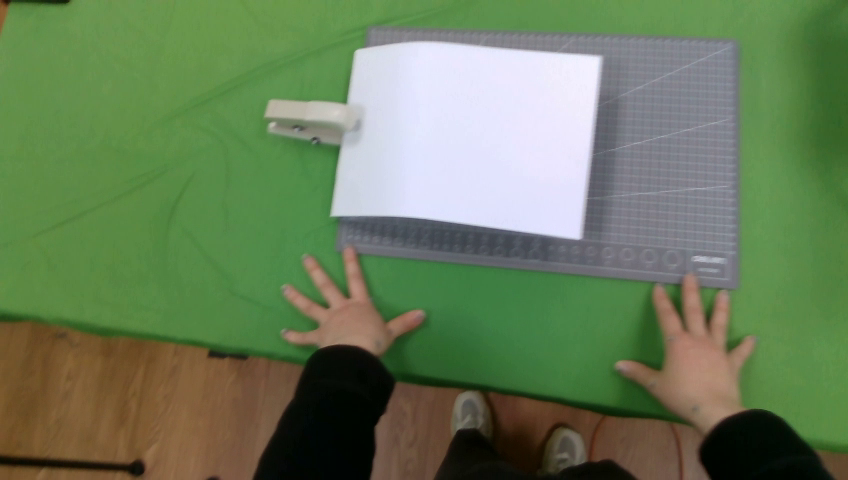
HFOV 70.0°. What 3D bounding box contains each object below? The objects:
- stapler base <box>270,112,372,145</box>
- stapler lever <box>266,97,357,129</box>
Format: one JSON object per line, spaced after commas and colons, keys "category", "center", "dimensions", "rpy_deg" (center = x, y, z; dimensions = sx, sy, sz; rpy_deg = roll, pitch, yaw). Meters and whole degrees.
{"category": "stapler base", "center": [-0.131, -0.148, 0.745], "dimensions": [0.130, 0.024, 0.041], "rpy_deg": [11, 78, 13]}
{"category": "stapler lever", "center": [-0.137, -0.154, 0.722], "dimensions": [0.118, 0.040, 0.026], "rpy_deg": [11, 78, 12]}
